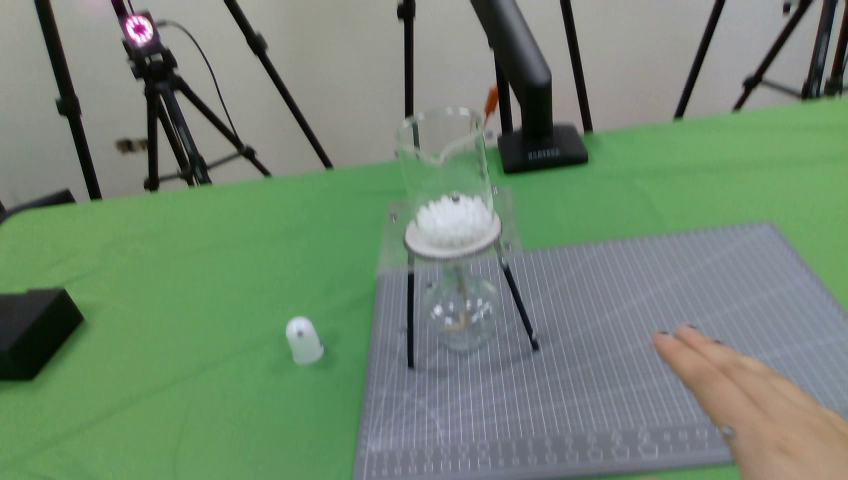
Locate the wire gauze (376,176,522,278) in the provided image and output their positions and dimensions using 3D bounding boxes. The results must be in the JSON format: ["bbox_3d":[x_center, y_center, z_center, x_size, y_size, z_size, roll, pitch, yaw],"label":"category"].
[{"bbox_3d":[0.020,-0.018,0.529,0.121,0.011,0.124,-9,37,8],"label":"wire gauze"}]

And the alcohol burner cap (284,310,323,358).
[{"bbox_3d":[-0.124,0.092,0.614,0.034,0.048,0.033,-7,38,6],"label":"alcohol burner cap"}]

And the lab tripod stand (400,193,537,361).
[{"bbox_3d":[0.032,0.031,0.571,0.148,0.133,0.147,-9,35,7],"label":"lab tripod stand"}]

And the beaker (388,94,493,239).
[{"bbox_3d":[0.017,-0.057,0.499,0.074,0.101,0.083,-7,36,8],"label":"beaker"}]

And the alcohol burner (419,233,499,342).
[{"bbox_3d":[0.032,0.040,0.576,0.078,0.120,0.077,-6,38,5],"label":"alcohol burner"}]
